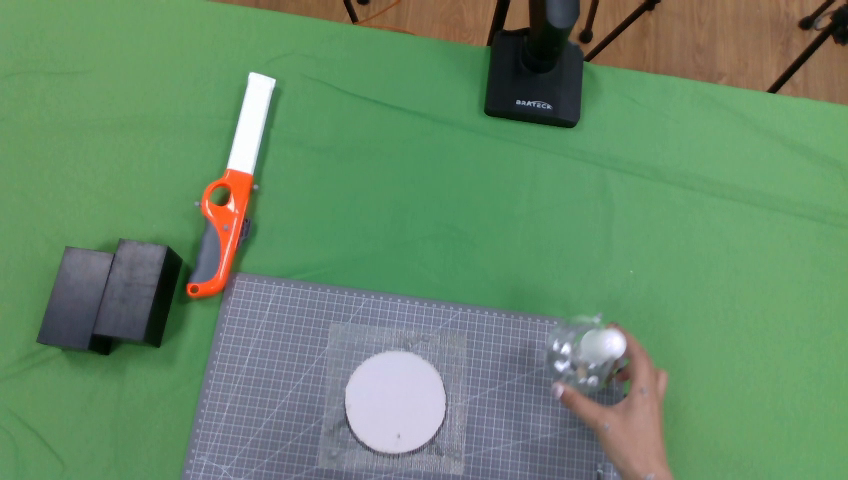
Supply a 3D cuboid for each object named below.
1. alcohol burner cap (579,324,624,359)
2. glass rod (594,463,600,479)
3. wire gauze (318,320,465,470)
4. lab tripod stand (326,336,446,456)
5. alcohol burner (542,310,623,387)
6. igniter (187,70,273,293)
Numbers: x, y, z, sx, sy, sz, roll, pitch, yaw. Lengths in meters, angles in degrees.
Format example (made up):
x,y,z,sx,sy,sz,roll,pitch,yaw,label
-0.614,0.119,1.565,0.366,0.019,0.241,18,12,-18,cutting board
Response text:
x,y,z,sx,sy,sz,roll,pitch,yaw,label
0.170,0.095,0.571,0.034,0.048,0.033,2,77,-10,alcohol burner cap
0.173,0.331,0.614,0.008,0.008,0.198,8,72,-3,glass rod
-0.026,0.131,0.521,0.125,0.011,0.120,4,72,-4,wire gauze
-0.031,0.155,0.584,0.148,0.132,0.147,1,71,-3,lab tripod stand
0.163,0.105,0.605,0.078,0.119,0.077,3,71,-9,alcohol burner
-0.217,-0.070,0.694,0.057,0.025,0.275,14,72,-17,igniter
